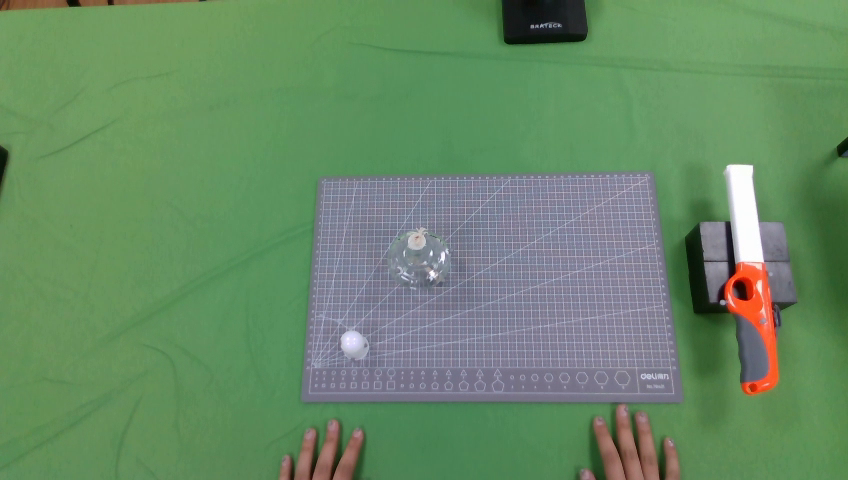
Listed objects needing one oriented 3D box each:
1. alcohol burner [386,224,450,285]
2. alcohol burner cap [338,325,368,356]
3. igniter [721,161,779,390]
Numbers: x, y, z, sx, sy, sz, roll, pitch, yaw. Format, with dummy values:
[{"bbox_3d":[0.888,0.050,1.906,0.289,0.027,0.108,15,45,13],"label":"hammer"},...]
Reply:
[{"bbox_3d":[-0.008,0.012,0.721,0.078,0.120,0.077,0,70,1],"label":"alcohol burner"},{"bbox_3d":[-0.086,0.119,0.725,0.034,0.048,0.033,-1,70,4],"label":"alcohol burner cap"},{"bbox_3d":[0.370,0.033,0.696,0.057,0.025,0.274,3,69,7],"label":"igniter"}]
